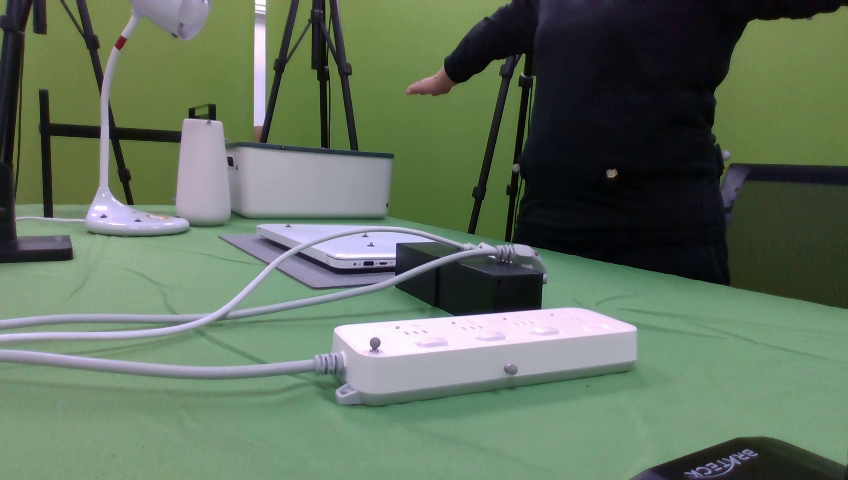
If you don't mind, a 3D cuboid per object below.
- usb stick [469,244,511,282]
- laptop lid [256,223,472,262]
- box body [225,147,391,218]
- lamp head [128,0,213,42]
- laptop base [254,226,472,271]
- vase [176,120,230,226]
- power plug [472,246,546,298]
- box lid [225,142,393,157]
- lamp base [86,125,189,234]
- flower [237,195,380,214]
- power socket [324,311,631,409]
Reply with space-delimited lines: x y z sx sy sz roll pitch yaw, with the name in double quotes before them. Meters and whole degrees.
"usb stick" 0.080 0.029 0.674 0.059 0.021 0.027 28 26 -30
"laptop lid" -0.092 0.000 0.912 0.243 0.013 0.355 1 7 -30
"box body" -0.289 -0.143 1.475 0.366 0.160 0.253 -1 9 -29
"lamp head" -0.423 -0.394 0.980 0.123 0.112 0.112 20 7 -3
"laptop base" -0.095 0.011 0.912 0.237 0.023 0.352 2 6 -32
"vase" -0.425 -0.128 1.159 0.098 0.200 0.098 2 9 0
"power plug" 0.081 0.029 0.584 0.072 0.052 0.035 12 28 9
"box lid" -0.287 -0.216 1.464 0.373 0.015 0.262 -1 8 -28
"lamp base" -0.497 -0.105 1.027 0.179 0.180 0.160 1 7 3
"flower" -0.284 -0.080 1.481 0.361 0.038 0.044 5 34 7
"power socket" 0.042 0.075 0.410 0.228 0.032 0.072 -1 8 -25
